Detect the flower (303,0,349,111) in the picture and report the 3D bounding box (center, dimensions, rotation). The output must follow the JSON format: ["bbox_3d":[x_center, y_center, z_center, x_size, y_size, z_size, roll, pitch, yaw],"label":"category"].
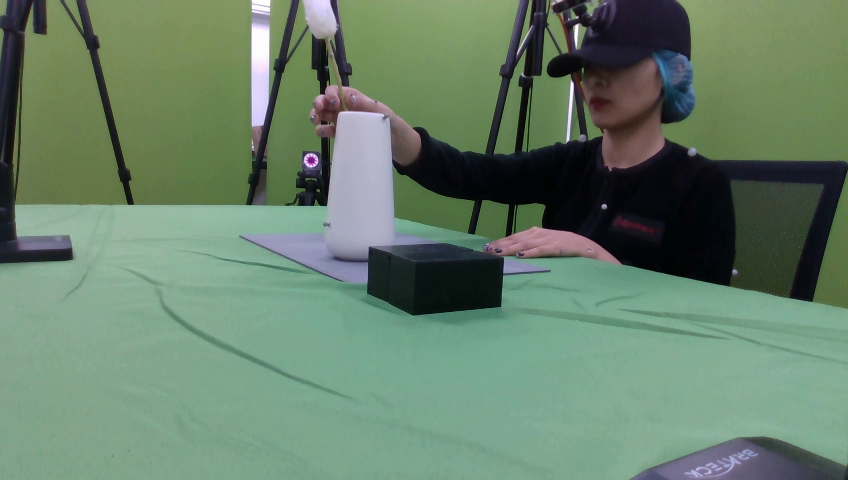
[{"bbox_3d":[-0.099,-0.157,0.826,0.038,0.361,0.044,-15,5,1],"label":"flower"}]

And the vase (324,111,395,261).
[{"bbox_3d":[-0.087,-0.074,0.829,0.098,0.200,0.098,2,9,0],"label":"vase"}]
